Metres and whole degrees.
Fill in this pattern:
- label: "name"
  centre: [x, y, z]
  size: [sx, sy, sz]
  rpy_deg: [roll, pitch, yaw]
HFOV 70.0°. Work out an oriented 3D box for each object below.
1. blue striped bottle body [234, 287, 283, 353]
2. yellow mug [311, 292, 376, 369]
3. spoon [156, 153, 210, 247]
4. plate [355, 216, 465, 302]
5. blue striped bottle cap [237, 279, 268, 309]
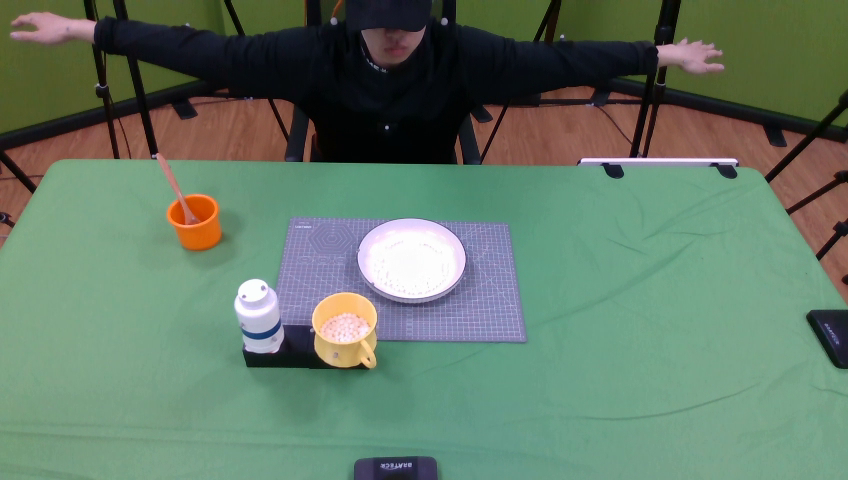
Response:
- label: "blue striped bottle body"
  centre: [-0.254, 0.114, 0.929]
  size: [0.063, 0.121, 0.062]
  rpy_deg: [2, 46, -2]
- label: "yellow mug"
  centre: [-0.115, 0.149, 0.945]
  size: [0.100, 0.064, 0.130]
  rpy_deg: [-30, 57, -28]
- label: "spoon"
  centre: [-0.458, -0.076, 1.147]
  size: [0.041, 0.194, 0.021]
  rpy_deg: [-26, 10, -24]
- label: "plate"
  centre: [-0.027, 0.039, 1.144]
  size: [0.208, 0.039, 0.206]
  rpy_deg: [2, 46, -2]
- label: "blue striped bottle cap"
  centre: [-0.252, 0.078, 0.892]
  size: [0.044, 0.021, 0.044]
  rpy_deg: [4, 47, -4]
